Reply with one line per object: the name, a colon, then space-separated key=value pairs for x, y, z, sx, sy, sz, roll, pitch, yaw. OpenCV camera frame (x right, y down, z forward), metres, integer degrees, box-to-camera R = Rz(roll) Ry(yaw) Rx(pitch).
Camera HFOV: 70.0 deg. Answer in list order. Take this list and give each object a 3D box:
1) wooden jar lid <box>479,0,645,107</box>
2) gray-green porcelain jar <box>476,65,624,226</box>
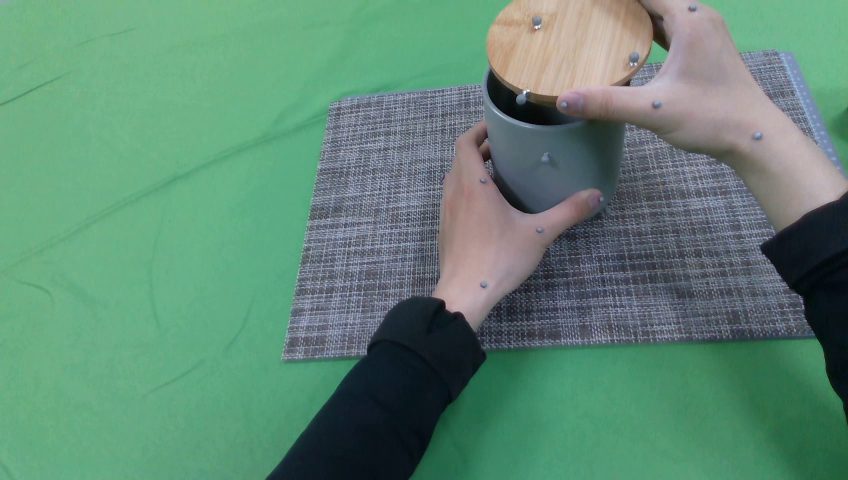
wooden jar lid: x=0.092 y=-0.131 z=0.409 sx=0.108 sy=0.021 sz=0.107 roll=-5 pitch=60 yaw=9
gray-green porcelain jar: x=0.100 y=-0.081 z=0.482 sx=0.106 sy=0.128 sz=0.105 roll=-6 pitch=54 yaw=8
